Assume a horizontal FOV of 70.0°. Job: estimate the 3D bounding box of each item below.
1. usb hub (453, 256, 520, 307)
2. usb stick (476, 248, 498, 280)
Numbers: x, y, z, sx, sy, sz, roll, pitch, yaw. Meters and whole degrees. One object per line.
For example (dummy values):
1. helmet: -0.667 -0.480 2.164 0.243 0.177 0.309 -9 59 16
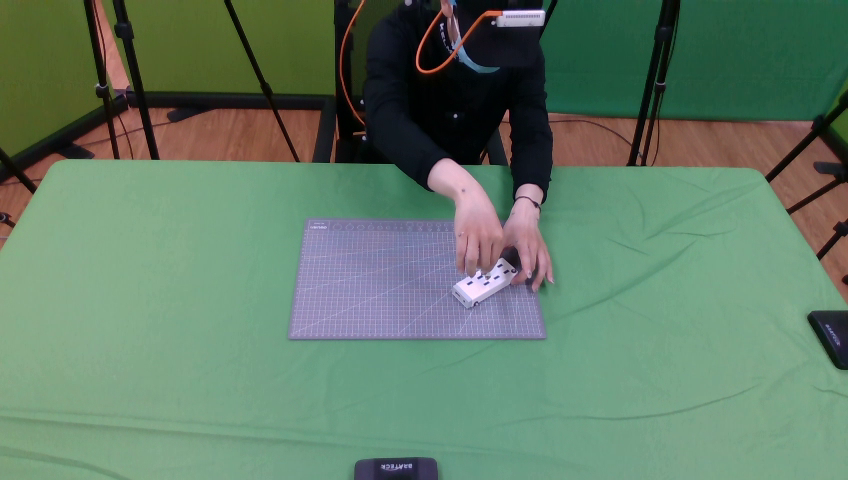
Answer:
1. usb hub: 0.117 0.077 1.121 0.125 0.025 0.049 -28 54 -26
2. usb stick: 0.115 0.045 1.084 0.027 0.059 0.021 6 35 43
